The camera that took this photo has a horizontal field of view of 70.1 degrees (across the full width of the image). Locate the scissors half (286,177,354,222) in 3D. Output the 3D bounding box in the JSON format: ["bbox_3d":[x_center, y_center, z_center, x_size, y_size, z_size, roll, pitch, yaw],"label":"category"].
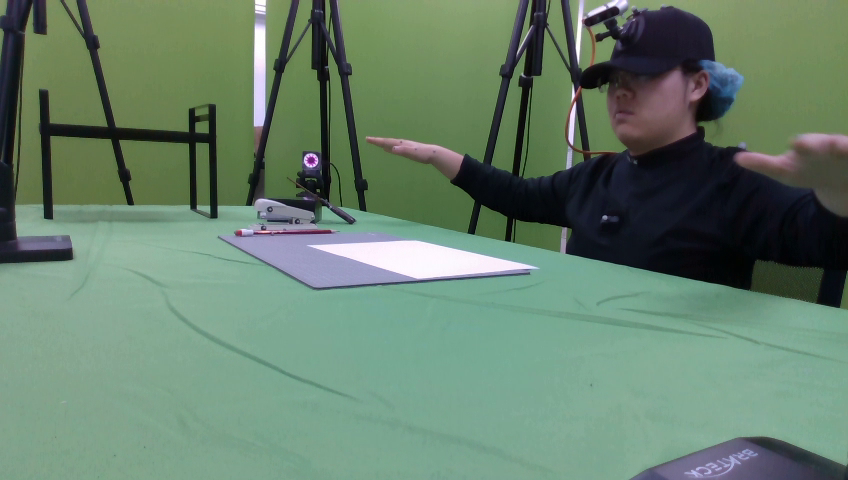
[{"bbox_3d":[-0.230,-0.091,1.337,0.175,0.013,0.040,33,16,-13],"label":"scissors half"}]

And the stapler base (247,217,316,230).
[{"bbox_3d":[-0.276,-0.033,1.172,0.131,0.024,0.041,0,10,-37],"label":"stapler base"}]

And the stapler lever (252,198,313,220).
[{"bbox_3d":[-0.273,-0.059,1.170,0.119,0.040,0.026,0,10,-37],"label":"stapler lever"}]

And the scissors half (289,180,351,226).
[{"bbox_3d":[-0.233,-0.085,1.318,0.175,0.013,0.040,38,21,4],"label":"scissors half"}]

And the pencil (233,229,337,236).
[{"bbox_3d":[-0.240,-0.014,1.066,0.195,0.012,0.012,-1,8,-37],"label":"pencil"}]
